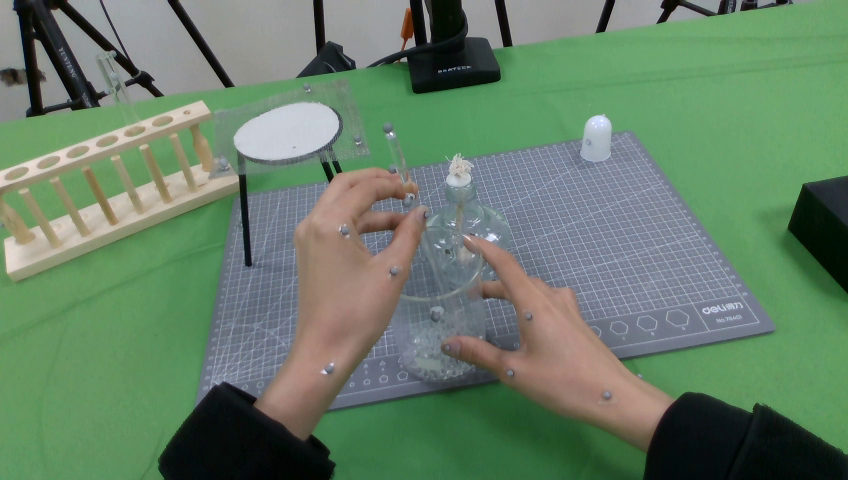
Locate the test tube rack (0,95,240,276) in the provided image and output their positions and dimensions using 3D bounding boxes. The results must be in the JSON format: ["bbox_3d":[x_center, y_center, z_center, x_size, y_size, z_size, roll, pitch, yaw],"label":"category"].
[{"bbox_3d":[-0.327,-0.062,0.636,0.242,0.086,0.066,-26,45,-19],"label":"test tube rack"}]

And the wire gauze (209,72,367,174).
[{"bbox_3d":[-0.116,-0.098,0.501,0.125,0.011,0.120,-14,42,-5],"label":"wire gauze"}]

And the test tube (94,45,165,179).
[{"bbox_3d":[-0.304,-0.128,0.631,0.017,0.151,0.017,-4,39,4],"label":"test tube"}]

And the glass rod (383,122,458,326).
[{"bbox_3d":[0.001,0.001,0.421,0.008,0.202,0.008,-9,45,10],"label":"glass rod"}]

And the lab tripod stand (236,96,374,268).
[{"bbox_3d":[-0.108,-0.049,0.547,0.148,0.133,0.147,-5,44,5],"label":"lab tripod stand"}]

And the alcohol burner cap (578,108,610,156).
[{"bbox_3d":[0.182,-0.117,0.644,0.034,0.048,0.033,-4,42,4],"label":"alcohol burner cap"}]

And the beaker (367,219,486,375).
[{"bbox_3d":[0.006,0.046,0.450,0.084,0.101,0.073,-4,42,6],"label":"beaker"}]

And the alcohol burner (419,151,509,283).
[{"bbox_3d":[0.033,-0.022,0.510,0.078,0.120,0.077,-5,41,5],"label":"alcohol burner"}]
